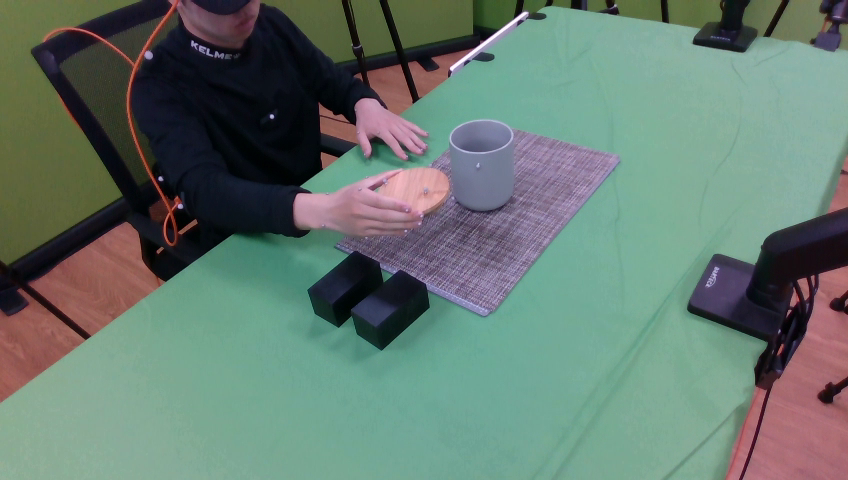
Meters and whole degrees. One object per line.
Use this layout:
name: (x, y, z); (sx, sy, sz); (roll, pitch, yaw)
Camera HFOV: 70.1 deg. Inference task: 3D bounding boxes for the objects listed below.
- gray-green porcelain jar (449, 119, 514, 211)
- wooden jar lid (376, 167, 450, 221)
gray-green porcelain jar: (0.098, -0.120, 1.008); (0.106, 0.127, 0.105); (-4, 41, 4)
wooden jar lid: (-0.015, -0.065, 0.870); (0.108, 0.021, 0.108); (-10, 41, 9)
